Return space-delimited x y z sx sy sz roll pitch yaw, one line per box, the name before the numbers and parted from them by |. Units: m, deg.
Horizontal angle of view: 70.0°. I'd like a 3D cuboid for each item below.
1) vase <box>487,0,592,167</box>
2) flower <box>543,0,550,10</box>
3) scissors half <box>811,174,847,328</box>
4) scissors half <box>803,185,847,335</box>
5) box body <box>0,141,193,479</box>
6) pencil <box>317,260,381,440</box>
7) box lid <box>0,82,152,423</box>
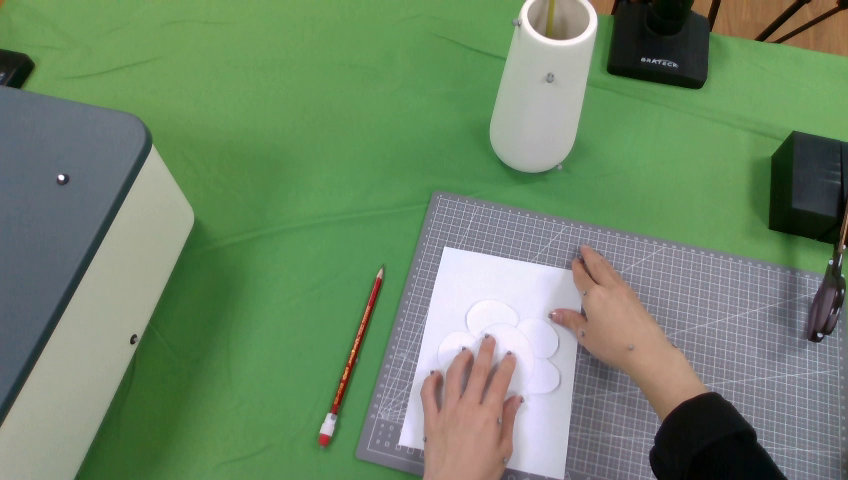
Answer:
vase | 0.118 -0.162 0.630 0.098 0.201 0.097 -1 64 2
flower | 0.113 -0.211 0.561 0.044 0.365 0.038 6 47 8
scissors half | 0.406 0.006 0.595 0.013 0.040 0.174 18 67 18
scissors half | 0.411 0.013 0.614 0.012 0.040 0.175 17 84 23
box body | -0.408 0.054 0.555 0.254 0.161 0.361 13 66 7
pencil | -0.072 0.105 0.614 0.012 0.012 0.193 13 65 7
box lid | -0.409 0.020 0.488 0.263 0.015 0.369 13 66 6
